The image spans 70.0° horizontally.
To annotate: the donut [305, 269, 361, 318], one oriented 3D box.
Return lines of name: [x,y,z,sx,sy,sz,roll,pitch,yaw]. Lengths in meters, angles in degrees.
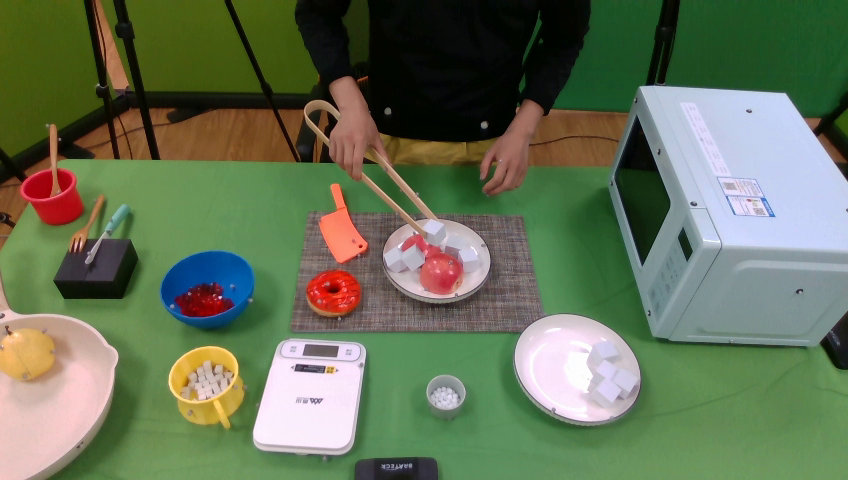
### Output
donut: [-0.160,0.094,1.075,0.099,0.048,0.098,4,45,-3]

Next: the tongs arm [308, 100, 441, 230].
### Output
tongs arm: [-0.103,-0.148,1.162,0.051,0.026,0.383,-32,66,-18]

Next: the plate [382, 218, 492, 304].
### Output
plate: [0.023,0.042,1.143,0.209,0.038,0.208,2,46,-2]

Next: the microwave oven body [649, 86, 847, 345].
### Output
microwave oven body: [0.567,-0.053,1.118,0.326,0.261,0.439,2,45,-1]

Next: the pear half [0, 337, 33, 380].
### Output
pear half: [-0.631,0.184,0.921,0.070,0.088,0.031,29,49,19]

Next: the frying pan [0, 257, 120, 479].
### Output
frying pan: [-0.647,0.164,0.936,0.307,0.103,0.485,-19,58,-22]

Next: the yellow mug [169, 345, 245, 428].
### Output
yellow mug: [-0.322,0.230,0.922,0.100,0.064,0.130,-24,53,-25]

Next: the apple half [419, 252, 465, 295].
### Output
apple half: [0.035,0.055,1.109,0.074,0.053,0.081,37,55,24]

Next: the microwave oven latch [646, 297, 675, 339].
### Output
microwave oven latch: [0.412,0.134,1.061,0.030,0.029,0.078,4,45,1]

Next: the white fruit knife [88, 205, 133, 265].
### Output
white fruit knife: [-0.584,-0.013,1.129,0.016,0.027,0.206,0,32,-5]

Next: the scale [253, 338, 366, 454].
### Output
scale: [-0.175,0.236,0.951,0.149,0.032,0.199,4,45,-1]

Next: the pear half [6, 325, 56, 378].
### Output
pear half: [-0.608,0.158,0.935,0.076,0.110,0.056,31,51,20]

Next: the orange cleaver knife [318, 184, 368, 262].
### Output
orange cleaver knife: [-0.173,-0.037,1.219,0.077,0.012,0.210,-16,50,-12]

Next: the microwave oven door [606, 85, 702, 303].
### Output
microwave oven door: [0.422,-0.094,1.140,0.039,0.245,0.353,2,46,-1]

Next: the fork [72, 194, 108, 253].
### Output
fork: [-0.634,-0.036,1.158,0.028,0.019,0.206,-8,32,-8]

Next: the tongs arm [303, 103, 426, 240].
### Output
tongs arm: [-0.121,-0.135,1.153,0.028,0.028,0.385,-37,67,-17]

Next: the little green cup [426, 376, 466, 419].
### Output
little green cup: [0.033,0.248,0.950,0.061,0.039,0.061,2,46,-2]

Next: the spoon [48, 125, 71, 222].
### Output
spoon: [-0.718,-0.131,1.188,0.041,0.021,0.193,-3,90,-7]

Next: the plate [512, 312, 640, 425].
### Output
plate: [0.246,0.213,0.999,0.208,0.039,0.206,2,46,-2]

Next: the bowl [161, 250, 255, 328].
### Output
bowl: [-0.362,0.098,1.039,0.151,0.077,0.150,2,45,-2]

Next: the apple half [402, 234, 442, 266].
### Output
apple half: [-0.004,0.014,1.159,0.081,0.033,0.081,5,44,-4]
